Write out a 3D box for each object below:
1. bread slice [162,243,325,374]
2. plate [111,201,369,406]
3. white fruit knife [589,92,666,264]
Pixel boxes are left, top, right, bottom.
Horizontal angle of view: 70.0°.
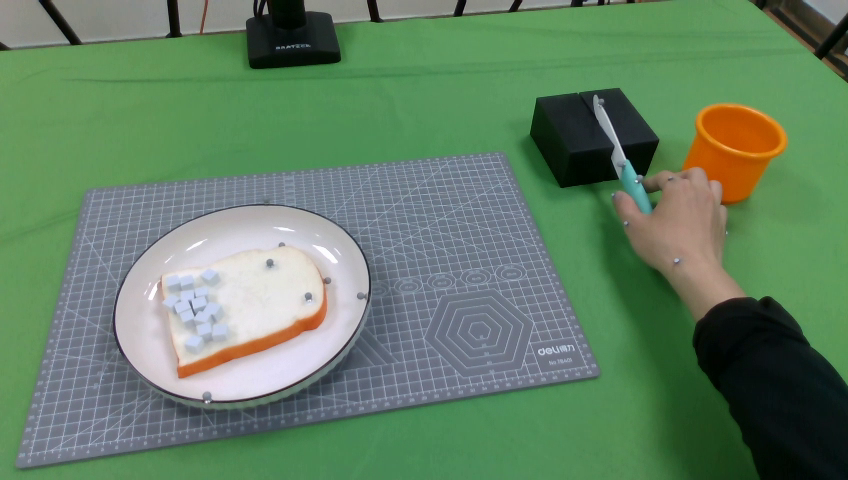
[{"bbox_3d":[-0.154,0.048,0.523,0.132,0.019,0.103,-19,52,-18],"label":"bread slice"},{"bbox_3d":[-0.150,0.051,0.517,0.209,0.038,0.207,2,48,-2],"label":"plate"},{"bbox_3d":[0.205,-0.073,0.625,0.016,0.027,0.205,-7,63,-14],"label":"white fruit knife"}]
